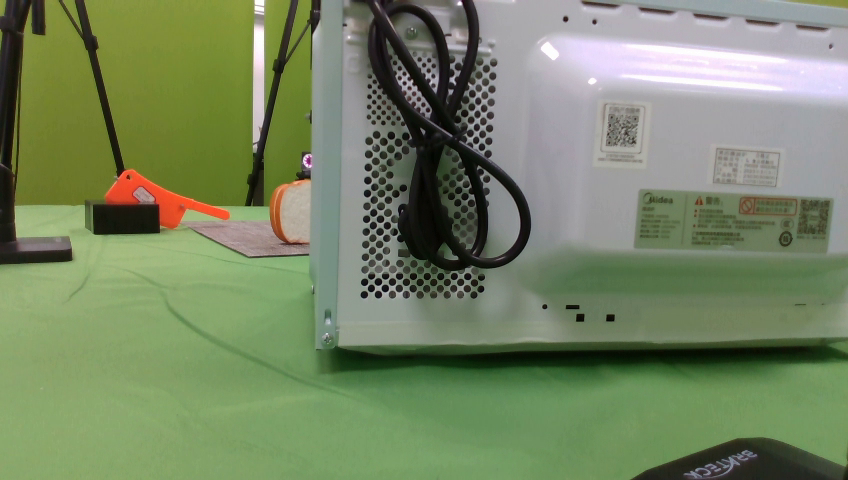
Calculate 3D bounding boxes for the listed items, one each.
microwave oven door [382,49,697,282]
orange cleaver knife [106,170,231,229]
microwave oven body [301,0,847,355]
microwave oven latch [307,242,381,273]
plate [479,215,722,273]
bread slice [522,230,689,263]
[{"bbox_3d":[0.135,-0.077,0.685,0.357,0.243,0.039,1,8,-12],"label":"microwave oven door"},{"bbox_3d":[-0.458,-0.060,1.097,0.212,0.077,0.012,23,-4,-38],"label":"orange cleaver knife"},{"bbox_3d":[0.120,-0.053,0.535,0.443,0.260,0.325,2,7,-11],"label":"microwave oven body"},{"bbox_3d":[-0.086,0.019,0.656,0.079,0.029,0.030,2,7,-10],"label":"microwave oven latch"},{"bbox_3d":[0.153,0.001,0.545,0.208,0.039,0.207,0,5,0],"label":"plate"},{"bbox_3d":[0.174,0.006,0.565,0.134,0.018,0.107,-5,3,30],"label":"bread slice"}]
